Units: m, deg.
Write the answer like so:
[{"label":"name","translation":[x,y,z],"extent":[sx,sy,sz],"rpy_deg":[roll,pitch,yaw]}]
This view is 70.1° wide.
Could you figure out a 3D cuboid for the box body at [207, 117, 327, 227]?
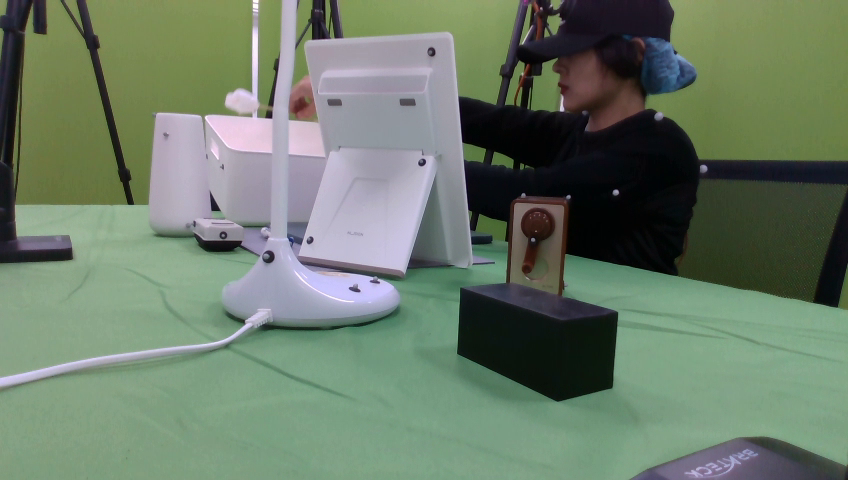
[{"label":"box body","translation":[-0.261,-0.145,1.292],"extent":[0.366,0.160,0.253],"rpy_deg":[-2,26,-30]}]

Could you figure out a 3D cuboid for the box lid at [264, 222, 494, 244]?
[{"label":"box lid","translation":[-0.081,-0.014,1.117],"extent":[0.373,0.015,0.262],"rpy_deg":[-2,9,-32]}]

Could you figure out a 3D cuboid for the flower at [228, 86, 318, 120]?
[{"label":"flower","translation":[-0.260,-0.270,1.288],"extent":[0.044,0.038,0.363],"rpy_deg":[-30,-17,29]}]

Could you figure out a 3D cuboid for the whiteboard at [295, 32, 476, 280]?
[{"label":"whiteboard","translation":[-0.076,-0.084,0.747],"extent":[0.216,0.305,0.144],"rpy_deg":[7,28,29]}]

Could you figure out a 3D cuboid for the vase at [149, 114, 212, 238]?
[{"label":"vase","translation":[-0.405,-0.106,1.006],"extent":[0.098,0.200,0.098],"rpy_deg":[2,6,0]}]

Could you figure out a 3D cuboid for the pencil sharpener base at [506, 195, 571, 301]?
[{"label":"pencil sharpener base","translation":[0.126,0.007,0.662],"extent":[0.061,0.107,0.077],"rpy_deg":[4,8,13]}]

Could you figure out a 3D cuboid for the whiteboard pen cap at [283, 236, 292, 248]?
[{"label":"whiteboard pen cap","translation":[-0.211,0.003,0.913],"extent":[0.018,0.018,0.033],"rpy_deg":[-2,6,-28]}]

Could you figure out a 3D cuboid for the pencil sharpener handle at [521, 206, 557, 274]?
[{"label":"pencil sharpener handle","translation":[0.112,0.001,0.611],"extent":[0.036,0.067,0.031],"rpy_deg":[12,10,11]}]

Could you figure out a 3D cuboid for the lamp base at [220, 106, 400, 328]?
[{"label":"lamp base","translation":[-0.101,-0.023,0.531],"extent":[0.160,0.180,0.179],"rpy_deg":[4,10,10]}]

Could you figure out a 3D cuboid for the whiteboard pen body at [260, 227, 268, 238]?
[{"label":"whiteboard pen body","translation":[-0.239,-0.005,0.964],"extent":[0.017,0.017,0.140],"rpy_deg":[-2,9,-28]}]

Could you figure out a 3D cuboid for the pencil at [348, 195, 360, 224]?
[{"label":"pencil","translation":[-0.155,-0.072,1.356],"extent":[0.012,0.012,0.194],"rpy_deg":[2,21,-1]}]

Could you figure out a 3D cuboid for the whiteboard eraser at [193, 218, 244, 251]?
[{"label":"whiteboard eraser","translation":[-0.307,-0.010,0.900],"extent":[0.056,0.042,0.112],"rpy_deg":[-4,10,-28]}]
